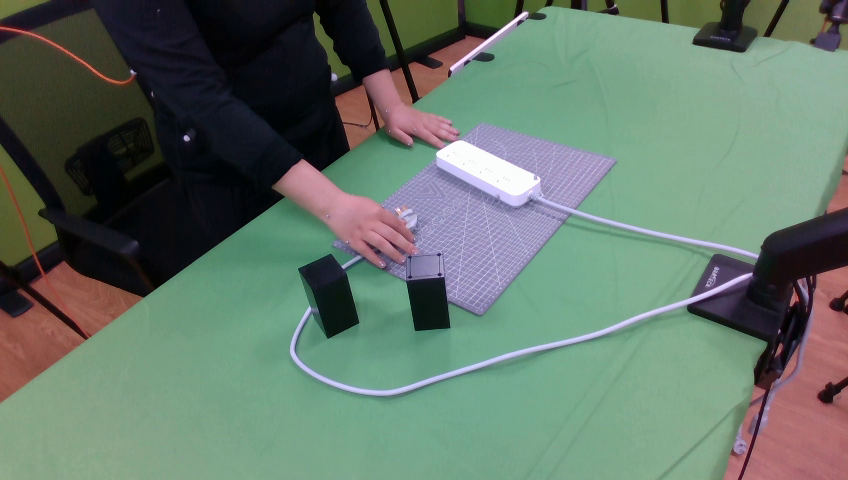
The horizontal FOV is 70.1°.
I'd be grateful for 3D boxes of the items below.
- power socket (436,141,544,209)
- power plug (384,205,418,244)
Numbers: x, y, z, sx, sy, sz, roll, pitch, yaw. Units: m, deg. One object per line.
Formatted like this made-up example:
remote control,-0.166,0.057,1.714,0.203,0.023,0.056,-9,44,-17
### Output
power socket,0.112,-0.120,1.082,0.072,0.033,0.224,-34,47,-27
power plug,-0.043,-0.030,0.991,0.073,0.035,0.052,-20,59,-31
